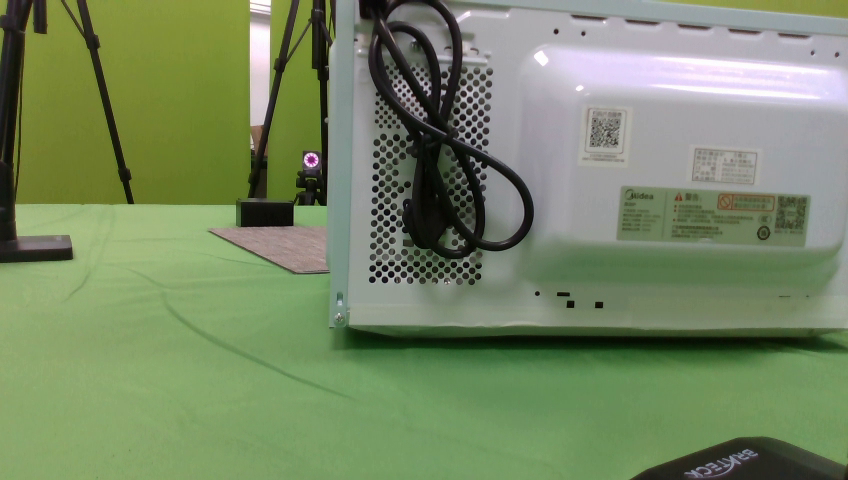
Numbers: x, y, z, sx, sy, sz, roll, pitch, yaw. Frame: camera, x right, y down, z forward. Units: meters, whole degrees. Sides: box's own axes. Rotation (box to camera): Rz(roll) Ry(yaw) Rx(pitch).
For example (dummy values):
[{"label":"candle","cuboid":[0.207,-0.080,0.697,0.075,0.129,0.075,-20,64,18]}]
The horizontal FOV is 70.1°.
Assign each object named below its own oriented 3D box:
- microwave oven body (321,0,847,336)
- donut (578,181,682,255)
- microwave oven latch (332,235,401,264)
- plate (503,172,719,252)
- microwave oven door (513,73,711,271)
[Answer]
[{"label":"microwave oven body","cuboid":[0.133,-0.062,0.568,0.443,0.260,0.325,2,6,-8]},{"label":"donut","cuboid":[0.192,-0.021,0.569,0.099,0.048,0.099,-27,7,4]},{"label":"microwave oven latch","cuboid":[-0.066,0.011,0.700,0.079,0.029,0.030,2,6,-8]},{"label":"plate","cuboid":[0.182,-0.029,0.613,0.209,0.038,0.209,5,18,-1]},{"label":"microwave oven door","cuboid":[0.250,-0.103,0.889,0.039,0.243,0.354,-2,8,-27]}]
